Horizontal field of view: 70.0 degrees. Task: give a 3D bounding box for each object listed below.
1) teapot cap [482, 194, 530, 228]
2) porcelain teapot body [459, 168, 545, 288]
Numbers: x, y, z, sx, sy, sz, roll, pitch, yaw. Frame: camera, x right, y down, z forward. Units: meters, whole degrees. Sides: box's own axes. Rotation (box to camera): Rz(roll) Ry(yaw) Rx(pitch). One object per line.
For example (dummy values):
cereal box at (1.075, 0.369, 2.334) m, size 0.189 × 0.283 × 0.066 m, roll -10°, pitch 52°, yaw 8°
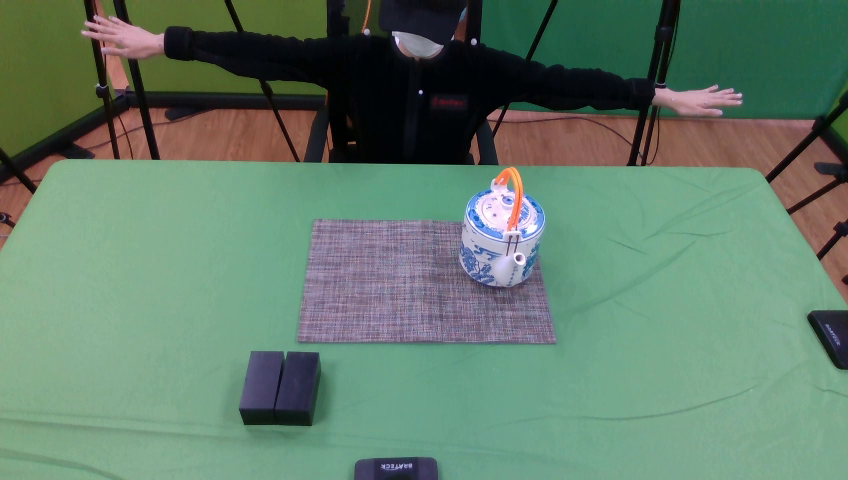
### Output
teapot cap at (0.145, -0.055, 1.062) m, size 0.085 × 0.044 × 0.084 m, roll 3°, pitch 47°, yaw -3°
porcelain teapot body at (0.146, -0.006, 1.070) m, size 0.145 × 0.226 × 0.204 m, roll -4°, pitch 46°, yaw -8°
